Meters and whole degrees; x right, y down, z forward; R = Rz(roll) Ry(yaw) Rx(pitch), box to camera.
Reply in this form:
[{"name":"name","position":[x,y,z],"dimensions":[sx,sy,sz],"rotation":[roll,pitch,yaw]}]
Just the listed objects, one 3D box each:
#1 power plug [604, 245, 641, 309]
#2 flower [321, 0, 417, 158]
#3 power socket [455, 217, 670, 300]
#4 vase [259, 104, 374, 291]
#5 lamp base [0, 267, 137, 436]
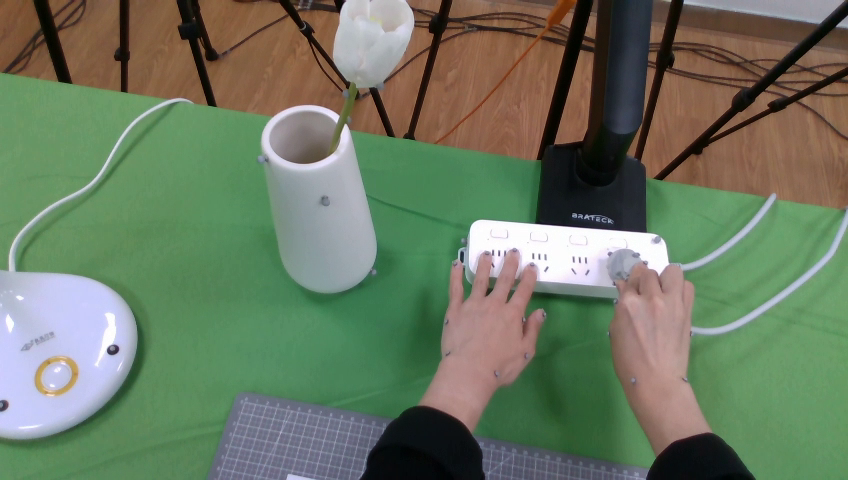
[{"name":"power plug","position":[0.195,0.038,0.605],"dimensions":[0.035,0.053,0.072],"rotation":[15,67,7]},{"name":"flower","position":[-0.079,-0.065,0.487],"dimensions":[0.044,0.362,0.038],"rotation":[-29,81,-27]},{"name":"power socket","position":[0.146,0.019,0.640],"dimensions":[0.227,0.033,0.071],"rotation":[5,60,0]},{"name":"vase","position":[-0.099,-0.033,0.562],"dimensions":[0.098,0.201,0.097],"rotation":[1,58,-1]},{"name":"lamp base","position":[-0.361,0.055,0.507],"dimensions":[0.178,0.182,0.160],"rotation":[39,64,23]}]
